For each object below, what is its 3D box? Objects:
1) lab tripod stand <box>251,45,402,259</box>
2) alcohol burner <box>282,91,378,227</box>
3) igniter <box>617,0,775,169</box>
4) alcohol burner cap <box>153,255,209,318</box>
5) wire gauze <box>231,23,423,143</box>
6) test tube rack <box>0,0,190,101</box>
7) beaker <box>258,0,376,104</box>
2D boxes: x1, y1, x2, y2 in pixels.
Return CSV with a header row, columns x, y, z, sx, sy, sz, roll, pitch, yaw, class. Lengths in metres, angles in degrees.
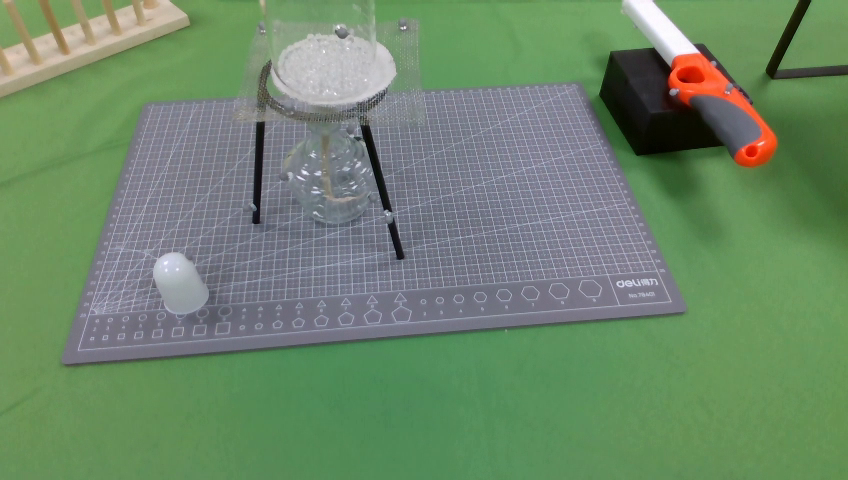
x,y,z,sx,sy,sz,roll,pitch,yaw,class
-0.068,-0.067,0.466,0.148,0.132,0.147,2,48,-2,lab tripod stand
-0.076,-0.067,0.480,0.078,0.120,0.077,0,50,0,alcohol burner
0.245,-0.158,0.566,0.057,0.025,0.273,-8,47,-4,igniter
-0.178,0.031,0.439,0.034,0.048,0.033,2,48,-2,alcohol burner cap
-0.063,-0.116,0.423,0.125,0.011,0.120,2,52,-4,wire gauze
-0.385,-0.233,0.640,0.242,0.086,0.066,-34,58,-27,test tube rack
-0.066,-0.143,0.380,0.074,0.101,0.083,-11,52,-10,beaker
